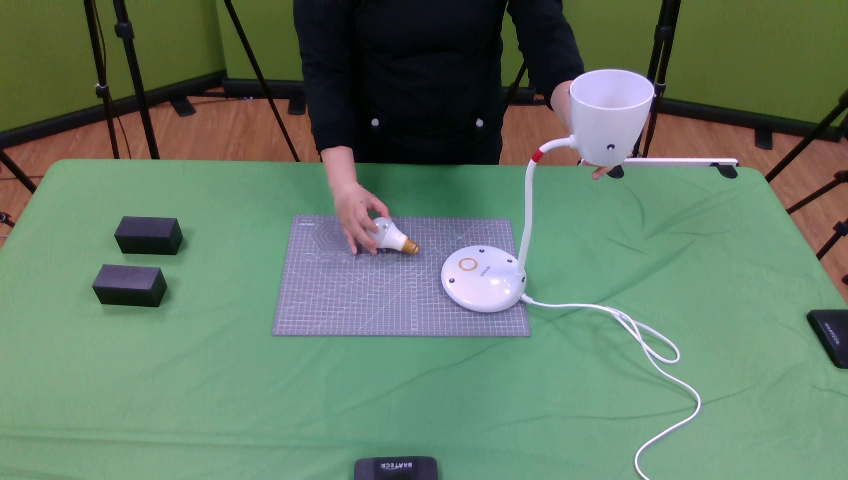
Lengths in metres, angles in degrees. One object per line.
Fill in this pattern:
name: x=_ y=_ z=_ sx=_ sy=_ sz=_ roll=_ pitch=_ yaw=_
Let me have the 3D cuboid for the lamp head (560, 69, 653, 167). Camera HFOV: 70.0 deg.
lamp head: x=0.255 y=-0.166 z=0.863 sx=0.112 sy=0.123 sz=0.111 roll=0 pitch=42 yaw=0

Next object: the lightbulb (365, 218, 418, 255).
lightbulb: x=-0.062 y=-0.003 z=1.166 sx=0.107 sy=0.060 sz=0.059 roll=26 pitch=48 yaw=0

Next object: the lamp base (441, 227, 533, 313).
lamp base: x=0.126 y=0.021 z=1.072 sx=0.179 sy=0.181 sz=0.160 roll=23 pitch=49 yaw=13
